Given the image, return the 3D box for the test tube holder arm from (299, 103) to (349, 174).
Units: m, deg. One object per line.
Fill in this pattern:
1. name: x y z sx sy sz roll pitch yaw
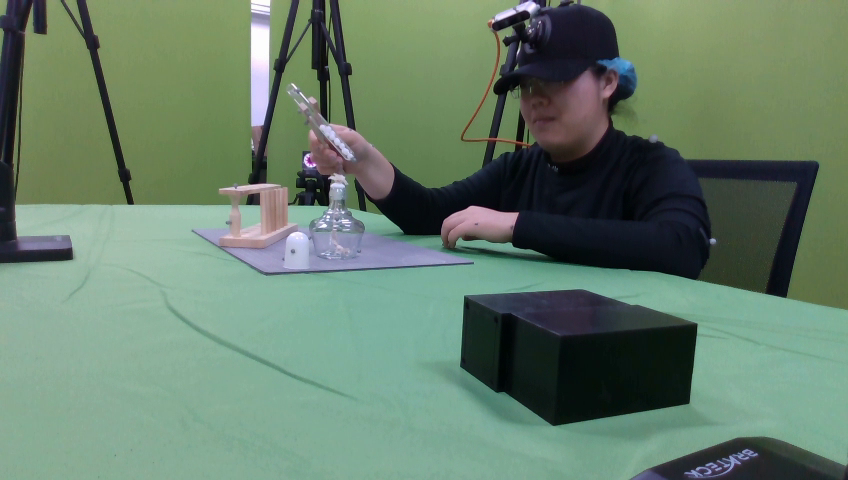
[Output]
1. test tube holder arm: -0.148 -0.148 0.910 0.015 0.013 0.179 42 -10 25

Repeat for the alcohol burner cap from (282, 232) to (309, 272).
1. alcohol burner cap: -0.157 0.014 0.740 0.034 0.048 0.034 2 6 0

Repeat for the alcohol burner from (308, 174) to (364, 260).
1. alcohol burner: -0.121 -0.033 0.841 0.078 0.119 0.078 3 5 0

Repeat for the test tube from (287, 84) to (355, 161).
1. test tube: -0.144 -0.164 0.844 0.150 0.017 0.017 49 26 17

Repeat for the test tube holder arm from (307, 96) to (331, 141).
1. test tube holder arm: -0.150 -0.172 0.871 0.015 0.010 0.088 41 -19 24

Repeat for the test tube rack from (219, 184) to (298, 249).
1. test tube rack: -0.266 -0.046 1.001 0.067 0.085 0.242 3 7 0
